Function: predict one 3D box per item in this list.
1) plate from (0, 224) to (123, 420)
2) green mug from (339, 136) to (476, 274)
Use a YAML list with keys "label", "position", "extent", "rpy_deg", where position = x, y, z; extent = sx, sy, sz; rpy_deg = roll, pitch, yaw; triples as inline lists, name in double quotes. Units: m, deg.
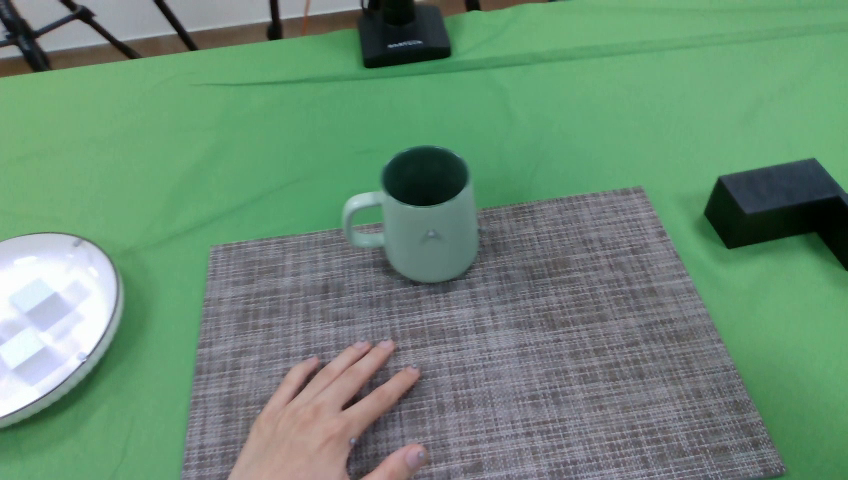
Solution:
- label: "plate"
  position: [-0.375, 0.075, 0.546]
  extent: [0.209, 0.038, 0.207]
  rpy_deg: [-2, 51, 2]
- label: "green mug"
  position: [-0.015, -0.027, 0.553]
  extent: [0.125, 0.106, 0.091]
  rpy_deg: [-9, 51, -3]
